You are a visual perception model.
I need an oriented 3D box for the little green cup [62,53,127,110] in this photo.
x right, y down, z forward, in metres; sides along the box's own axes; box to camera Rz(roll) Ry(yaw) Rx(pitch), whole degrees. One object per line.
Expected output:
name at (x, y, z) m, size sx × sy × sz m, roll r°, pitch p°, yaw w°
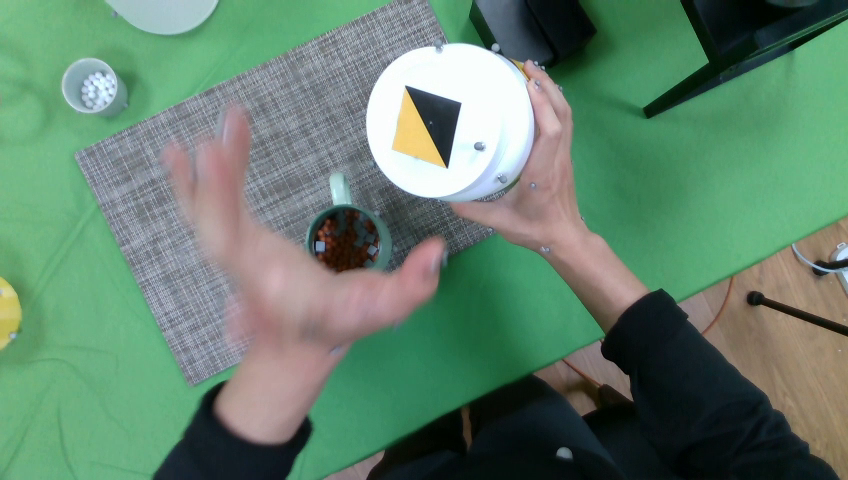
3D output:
little green cup at (-0.373, -0.178, 0.692) m, size 0.061 × 0.038 × 0.061 m, roll 0°, pitch 90°, yaw -3°

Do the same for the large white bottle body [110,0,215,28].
large white bottle body at (-0.301, -0.313, 0.624) m, size 0.131 × 0.184 × 0.130 m, roll 0°, pitch 89°, yaw -2°

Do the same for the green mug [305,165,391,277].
green mug at (-0.086, -0.021, 0.665) m, size 0.092 × 0.105 × 0.125 m, roll -10°, pitch 89°, yaw -2°

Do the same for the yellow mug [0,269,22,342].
yellow mug at (-0.517, 0.091, 0.668) m, size 0.100 × 0.064 × 0.130 m, roll 6°, pitch 90°, yaw -3°

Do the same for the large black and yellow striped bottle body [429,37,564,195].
large black and yellow striped bottle body at (0.044, -0.110, 0.549) m, size 0.130 × 0.184 × 0.131 m, roll 5°, pitch 102°, yaw 24°

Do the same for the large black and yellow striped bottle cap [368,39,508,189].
large black and yellow striped bottle cap at (0.008, -0.096, 0.472) m, size 0.114 × 0.019 × 0.115 m, roll 5°, pitch 103°, yaw 25°
